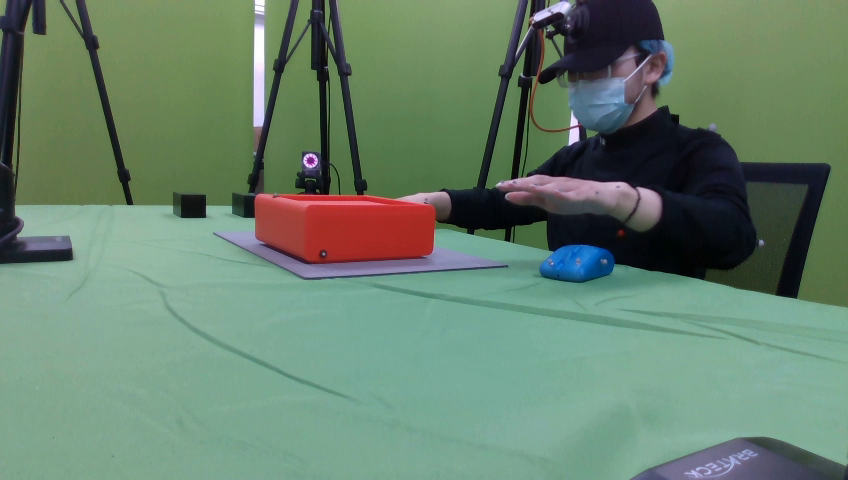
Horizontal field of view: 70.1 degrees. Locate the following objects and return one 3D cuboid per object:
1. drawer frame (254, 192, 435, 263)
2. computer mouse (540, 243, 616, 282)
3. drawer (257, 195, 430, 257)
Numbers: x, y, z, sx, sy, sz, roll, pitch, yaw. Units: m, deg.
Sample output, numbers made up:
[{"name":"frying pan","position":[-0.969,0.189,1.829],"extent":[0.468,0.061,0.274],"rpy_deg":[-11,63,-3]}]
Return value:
[{"name":"drawer frame","position":[-0.124,-0.026,0.904],"extent":[0.203,0.082,0.212],"rpy_deg":[-2,9,-33]},{"name":"computer mouse","position":[0.205,0.028,0.797],"extent":[0.062,0.041,0.118],"rpy_deg":[11,14,38]},{"name":"drawer","position":[-0.125,-0.025,0.907],"extent":[0.195,0.073,0.210],"rpy_deg":[-1,9,-32]}]
